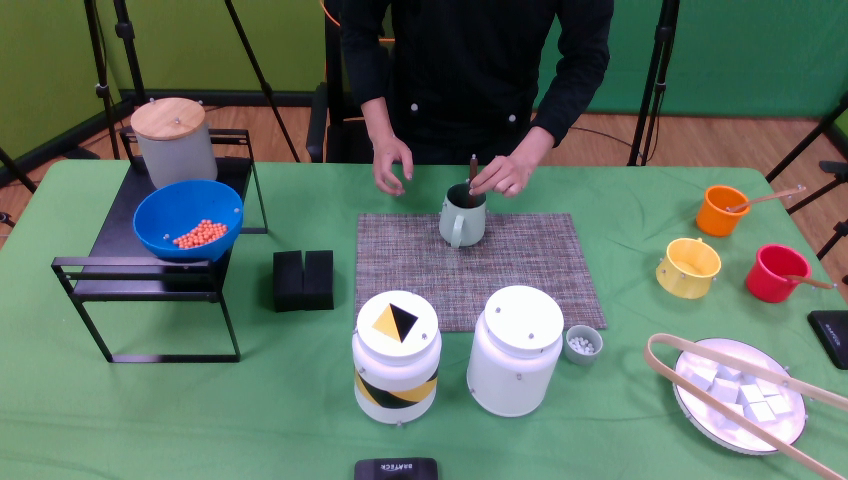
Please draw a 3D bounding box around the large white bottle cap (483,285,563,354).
[{"bbox_3d":[0.142,0.112,0.871,0.115,0.018,0.114,3,46,-2],"label":"large white bottle cap"}]

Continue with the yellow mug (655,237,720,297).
[{"bbox_3d":[0.509,0.041,1.167,0.099,0.064,0.130,24,48,18],"label":"yellow mug"}]

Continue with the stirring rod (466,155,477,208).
[{"bbox_3d":[0.087,-0.084,1.134,0.014,0.177,0.006,-3,42,-4],"label":"stirring rod"}]

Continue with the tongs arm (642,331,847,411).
[{"bbox_3d":[0.546,0.227,0.968,0.384,0.026,0.050,22,51,13],"label":"tongs arm"}]

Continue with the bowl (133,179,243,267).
[{"bbox_3d":[-0.339,-0.013,0.895,0.151,0.077,0.150,2,46,-2],"label":"bowl"}]

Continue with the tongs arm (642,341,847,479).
[{"bbox_3d":[0.504,0.278,0.917,0.386,0.028,0.028,34,58,22],"label":"tongs arm"}]

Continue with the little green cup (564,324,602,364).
[{"bbox_3d":[0.269,0.180,1.035,0.061,0.039,0.061,2,45,-2],"label":"little green cup"}]

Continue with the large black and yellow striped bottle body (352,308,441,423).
[{"bbox_3d":[-0.042,0.177,0.913,0.131,0.185,0.130,2,46,-2],"label":"large black and yellow striped bottle body"}]

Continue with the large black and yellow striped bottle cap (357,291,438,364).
[{"bbox_3d":[-0.037,0.121,0.851,0.115,0.019,0.114,1,46,-1],"label":"large black and yellow striped bottle cap"}]

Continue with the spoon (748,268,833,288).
[{"bbox_3d":[0.660,0.068,1.097,0.041,0.193,0.021,-4,91,-6],"label":"spoon"}]

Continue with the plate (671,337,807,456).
[{"bbox_3d":[0.503,0.254,0.984,0.208,0.039,0.206,2,46,-2],"label":"plate"}]

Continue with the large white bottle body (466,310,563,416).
[{"bbox_3d":[0.138,0.171,0.932,0.131,0.185,0.130,2,46,-2],"label":"large white bottle body"}]

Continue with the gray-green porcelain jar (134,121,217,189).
[{"bbox_3d":[-0.397,-0.141,0.980,0.106,0.127,0.105,2,47,-2],"label":"gray-green porcelain jar"}]

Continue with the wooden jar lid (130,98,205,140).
[{"bbox_3d":[-0.393,-0.183,0.934,0.108,0.021,0.107,2,44,-2],"label":"wooden jar lid"}]

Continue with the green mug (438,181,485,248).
[{"bbox_3d":[0.071,-0.039,1.177,0.092,0.105,0.124,12,47,7],"label":"green mug"}]

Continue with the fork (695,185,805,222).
[{"bbox_3d":[0.657,-0.074,1.230,0.207,0.019,0.028,-23,34,37],"label":"fork"}]
